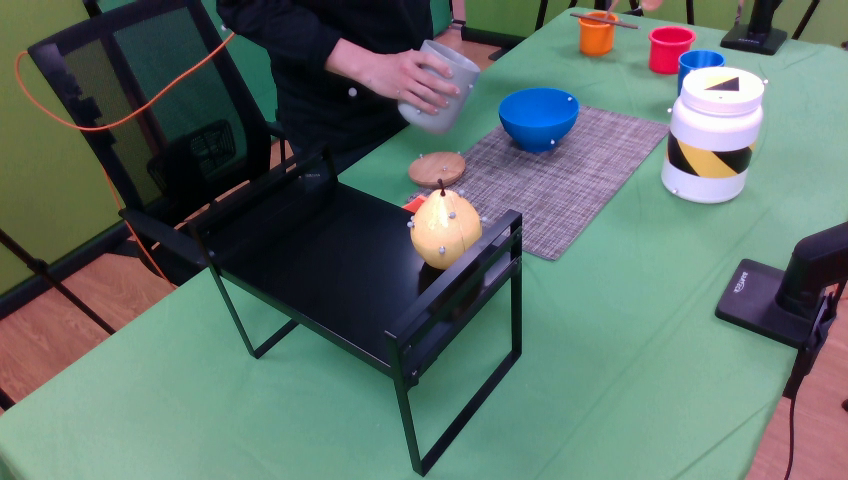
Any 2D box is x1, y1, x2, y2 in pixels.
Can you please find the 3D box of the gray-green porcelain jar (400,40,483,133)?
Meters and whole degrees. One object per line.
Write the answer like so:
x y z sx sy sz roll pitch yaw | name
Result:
0.026 -0.255 1.025 0.106 0.126 0.105 23 26 -11 | gray-green porcelain jar

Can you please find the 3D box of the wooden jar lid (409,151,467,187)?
0.027 -0.131 1.124 0.108 0.021 0.108 -8 36 6 | wooden jar lid

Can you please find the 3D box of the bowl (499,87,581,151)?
0.220 -0.223 1.156 0.151 0.077 0.150 -4 41 4 | bowl

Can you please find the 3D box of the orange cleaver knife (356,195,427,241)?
-0.037 -0.029 0.973 0.210 0.077 0.012 -8 33 50 | orange cleaver knife

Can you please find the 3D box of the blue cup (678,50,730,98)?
0.542 -0.310 1.194 0.092 0.101 0.092 -6 41 6 | blue cup

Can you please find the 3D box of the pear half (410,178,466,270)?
0.011 -0.019 0.654 0.056 0.110 0.076 -16 37 -9 | pear half

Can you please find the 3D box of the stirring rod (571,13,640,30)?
0.418 -0.508 1.403 0.174 0.006 0.014 28 52 35 | stirring rod

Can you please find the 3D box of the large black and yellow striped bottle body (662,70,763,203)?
0.464 -0.166 0.976 0.131 0.185 0.130 -5 41 5 | large black and yellow striped bottle body

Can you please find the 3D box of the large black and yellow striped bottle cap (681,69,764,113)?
0.453 -0.229 0.921 0.115 0.019 0.114 -4 39 4 | large black and yellow striped bottle cap

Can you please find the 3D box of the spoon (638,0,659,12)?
0.445 -0.538 1.160 0.041 0.194 0.022 17 19 40 | spoon

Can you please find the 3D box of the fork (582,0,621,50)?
0.446 -0.539 1.438 0.207 0.019 0.028 -57 35 12 | fork

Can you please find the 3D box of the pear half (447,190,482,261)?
0.046 -0.020 0.664 0.031 0.088 0.070 -17 38 -9 | pear half
